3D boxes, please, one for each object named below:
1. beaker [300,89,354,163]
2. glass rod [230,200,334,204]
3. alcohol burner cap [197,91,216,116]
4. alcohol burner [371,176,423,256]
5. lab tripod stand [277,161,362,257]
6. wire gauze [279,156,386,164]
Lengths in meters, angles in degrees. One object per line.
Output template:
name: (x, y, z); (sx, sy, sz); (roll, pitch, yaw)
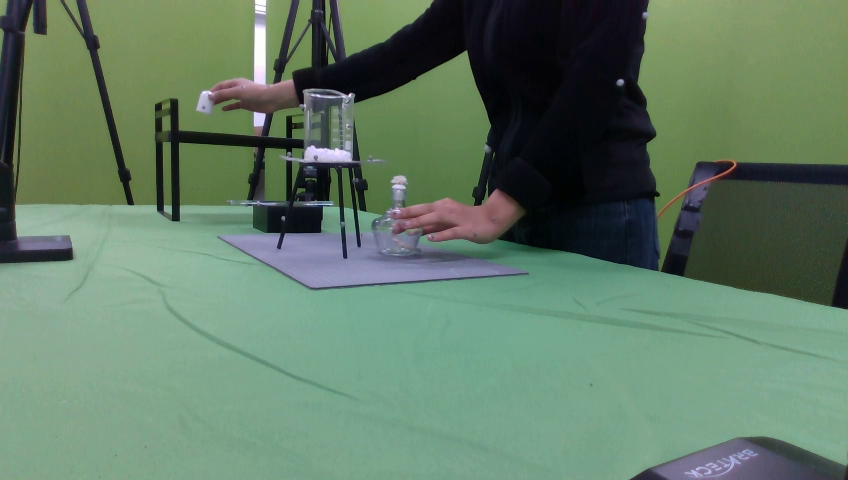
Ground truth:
beaker: (-0.137, -0.161, 0.868); (0.083, 0.100, 0.074); (9, 10, 42)
glass rod: (-0.265, -0.071, 1.144); (0.201, 0.008, 0.008); (-1, 8, -31)
alcohol burner cap: (-0.446, -0.282, 1.245); (0.034, 0.048, 0.034); (14, 4, -1)
alcohol burner: (-0.039, -0.036, 0.897); (0.078, 0.119, 0.078); (4, 5, 0)
lab tripod stand: (-0.143, -0.049, 0.884); (0.148, 0.131, 0.148); (2, 9, 0)
wire gauze: (-0.134, -0.113, 0.875); (0.122, 0.011, 0.124); (-1, 6, -30)
